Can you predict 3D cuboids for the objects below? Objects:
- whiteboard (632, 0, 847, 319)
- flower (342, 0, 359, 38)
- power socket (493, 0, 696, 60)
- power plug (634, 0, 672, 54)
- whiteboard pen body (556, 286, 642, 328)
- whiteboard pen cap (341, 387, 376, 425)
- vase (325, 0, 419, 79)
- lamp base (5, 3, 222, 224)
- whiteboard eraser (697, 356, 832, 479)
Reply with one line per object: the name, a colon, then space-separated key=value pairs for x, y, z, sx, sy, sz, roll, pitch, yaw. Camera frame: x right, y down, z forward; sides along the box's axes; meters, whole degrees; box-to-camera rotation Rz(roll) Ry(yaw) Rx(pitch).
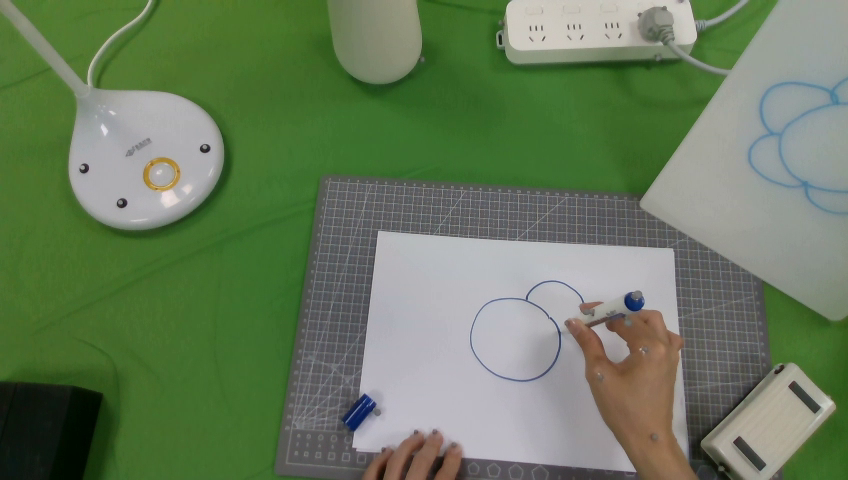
whiteboard: x=0.369 y=-0.112 z=0.523 sx=0.216 sy=0.307 sz=0.143 roll=34 pitch=53 yaw=13
flower: x=-0.040 y=-0.270 z=0.522 sx=0.044 sy=0.361 sz=0.038 roll=-39 pitch=91 yaw=-21
power socket: x=0.193 y=-0.243 z=0.684 sx=0.227 sy=0.033 sz=0.071 roll=-1 pitch=71 yaw=0
power plug: x=0.244 y=-0.224 z=0.653 sx=0.035 sy=0.053 sz=0.072 roll=9 pitch=77 yaw=4
whiteboard pen body: x=0.143 y=0.061 z=0.517 sx=0.017 sy=0.141 sz=0.017 roll=4 pitch=72 yaw=-12
whiteboard pen cap: x=-0.059 y=0.151 z=0.553 sx=0.018 sy=0.018 sz=0.033 roll=38 pitch=73 yaw=14
vase: x=-0.057 y=-0.251 z=0.603 sx=0.098 sy=0.201 sz=0.097 roll=-1 pitch=69 yaw=2
lamp base: x=-0.306 y=-0.125 z=0.571 sx=0.178 sy=0.181 sz=0.160 roll=36 pitch=74 yaw=16
whiteboard eraser: x=0.297 y=0.157 z=0.533 sx=0.112 sy=0.042 sz=0.055 roll=-38 pitch=73 yaw=-12
